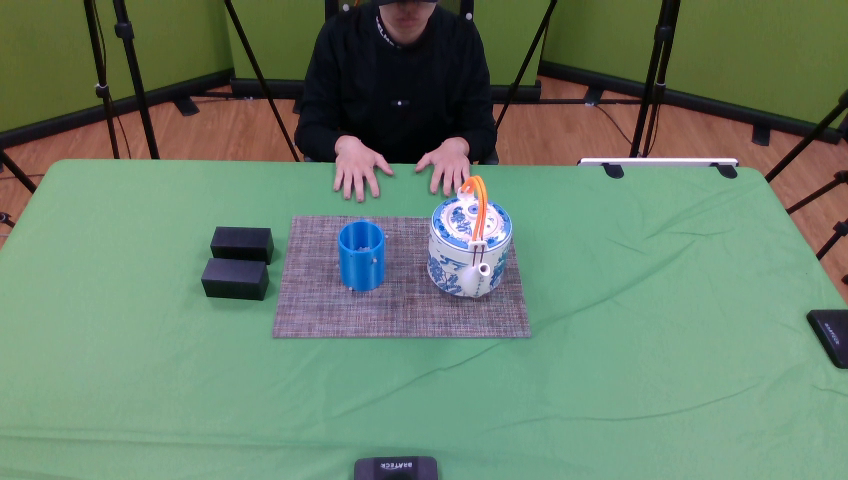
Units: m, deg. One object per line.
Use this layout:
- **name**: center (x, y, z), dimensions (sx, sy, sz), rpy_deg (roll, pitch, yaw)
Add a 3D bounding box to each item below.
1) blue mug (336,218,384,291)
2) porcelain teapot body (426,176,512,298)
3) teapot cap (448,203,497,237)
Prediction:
- **blue mug**: center (-0.115, 0.018, 1.110), dimensions (0.082, 0.106, 0.116), rpy_deg (1, 46, -3)
- **porcelain teapot body**: center (0.085, 0.009, 1.051), dimensions (0.145, 0.226, 0.204), rpy_deg (-5, 47, -9)
- **teapot cap**: center (0.084, -0.038, 1.041), dimensions (0.085, 0.044, 0.084), rpy_deg (0, 48, 0)
